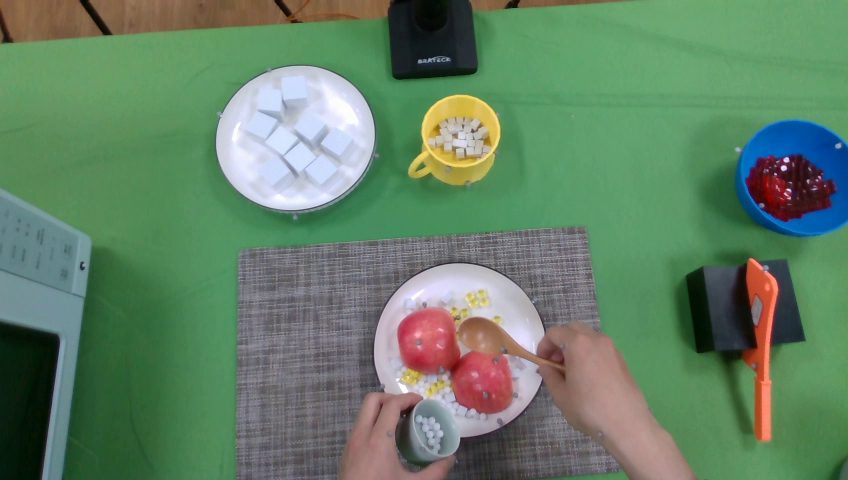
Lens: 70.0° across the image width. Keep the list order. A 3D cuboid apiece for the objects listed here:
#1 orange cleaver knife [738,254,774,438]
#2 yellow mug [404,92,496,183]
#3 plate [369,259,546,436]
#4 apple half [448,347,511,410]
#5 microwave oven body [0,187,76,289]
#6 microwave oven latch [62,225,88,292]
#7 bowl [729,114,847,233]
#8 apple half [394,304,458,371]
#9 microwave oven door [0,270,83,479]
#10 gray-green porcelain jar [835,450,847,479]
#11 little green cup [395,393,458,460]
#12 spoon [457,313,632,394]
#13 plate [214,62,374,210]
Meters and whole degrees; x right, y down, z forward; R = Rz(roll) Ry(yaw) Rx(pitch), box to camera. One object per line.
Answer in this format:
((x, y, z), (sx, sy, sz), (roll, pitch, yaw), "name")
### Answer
((0.387, 0.124, 0.711), (0.012, 0.077, 0.212), (-3, 99, 3), "orange cleaver knife")
((0.028, -0.123, 0.783), (0.131, 0.064, 0.099), (-35, 77, -8), "yellow mug")
((0.039, 0.127, 0.728), (0.209, 0.038, 0.208), (0, 76, 0), "plate")
((0.066, 0.162, 0.713), (0.081, 0.033, 0.081), (0, 73, 1), "apple half")
((-0.578, 0.170, 0.599), (0.326, 0.261, 0.439), (-1, 76, -1), "microwave oven body")
((-0.432, 0.022, 0.738), (0.030, 0.029, 0.078), (1, 76, 0), "microwave oven latch")
((0.450, -0.073, 0.765), (0.151, 0.077, 0.150), (0, 76, 0), "bowl")
((0.001, 0.114, 0.716), (0.074, 0.053, 0.080), (-6, 76, 1), "apple half")
((-0.431, 0.207, 0.585), (0.039, 0.245, 0.354), (-1, 75, 0), "microwave oven door")
((0.525, 0.271, 0.650), (0.106, 0.127, 0.105), (0, 75, 0), "gray-green porcelain jar")
((0.001, 0.195, 0.628), (0.062, 0.039, 0.061), (17, 41, -15), "little green cup")
((0.118, 0.121, 0.626), (0.192, 0.022, 0.042), (20, 108, 33), "spoon")
((-0.168, -0.135, 0.800), (0.208, 0.039, 0.206), (0, 75, 0), "plate")
